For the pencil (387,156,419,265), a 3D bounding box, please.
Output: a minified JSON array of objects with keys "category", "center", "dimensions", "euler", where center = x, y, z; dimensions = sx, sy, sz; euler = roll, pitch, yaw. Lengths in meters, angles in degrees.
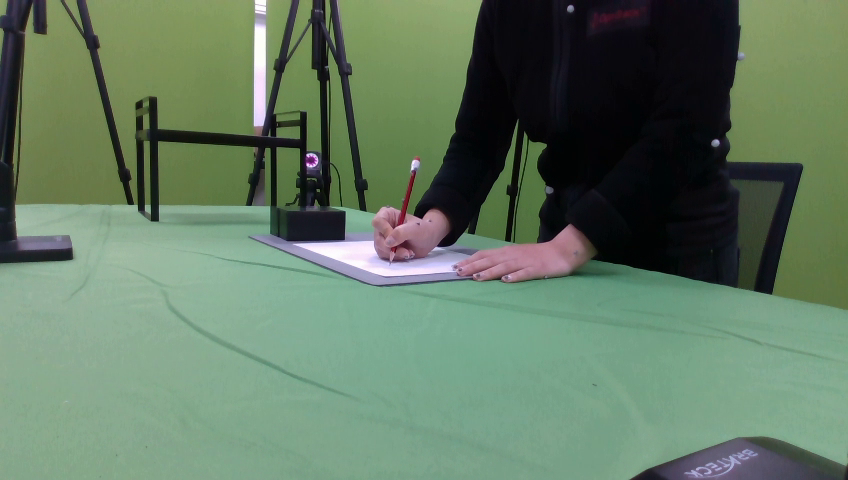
[{"category":"pencil","center":[-0.030,-0.045,0.846],"dimensions":[0.012,0.194,0.012],"euler":[9,-34,6]}]
